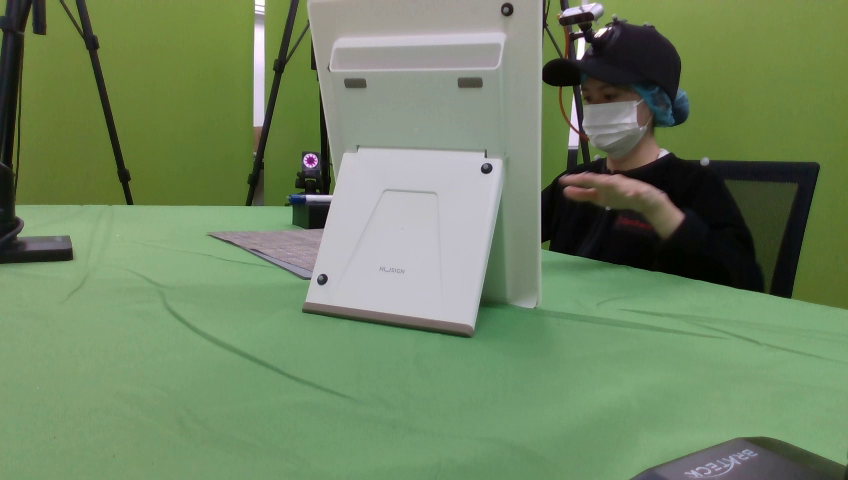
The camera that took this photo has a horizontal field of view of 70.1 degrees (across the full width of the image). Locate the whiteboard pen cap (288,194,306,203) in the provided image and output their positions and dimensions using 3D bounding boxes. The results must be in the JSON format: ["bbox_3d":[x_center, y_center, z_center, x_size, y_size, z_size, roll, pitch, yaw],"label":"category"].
[{"bbox_3d":[-0.253,-0.083,1.204,0.033,0.018,0.018,-4,10,-34],"label":"whiteboard pen cap"}]

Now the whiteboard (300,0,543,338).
[{"bbox_3d":[-0.020,-0.050,0.523,0.216,0.305,0.144,6,27,22],"label":"whiteboard"}]

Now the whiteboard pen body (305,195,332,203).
[{"bbox_3d":[-0.201,-0.085,1.237,0.141,0.017,0.017,-2,9,-33],"label":"whiteboard pen body"}]
